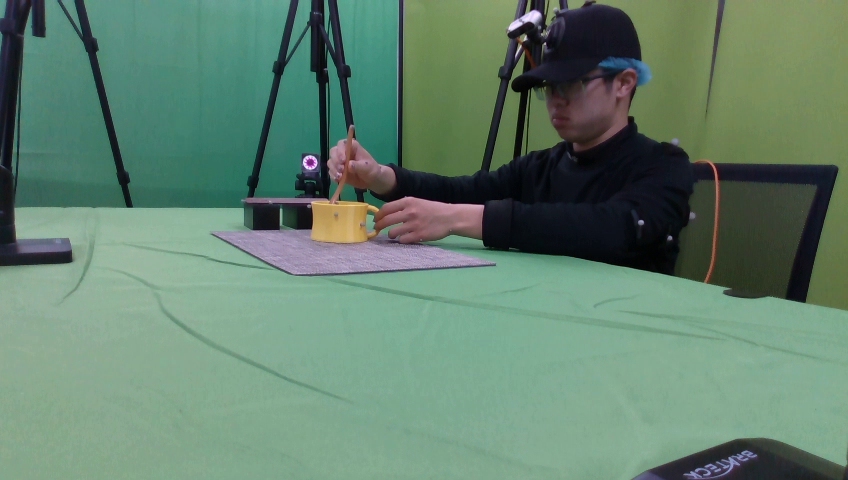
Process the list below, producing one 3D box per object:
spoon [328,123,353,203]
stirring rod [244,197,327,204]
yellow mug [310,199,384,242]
[{"bbox_3d":[-0.145,-0.105,1.041,0.022,0.193,0.041,16,3,-13],"label":"spoon"},{"bbox_3d":[-0.270,-0.078,1.200,0.177,0.006,0.014,-2,44,-37],"label":"stirring rod"},{"bbox_3d":[-0.132,-0.035,1.054,0.131,0.064,0.099,0,8,-23],"label":"yellow mug"}]
